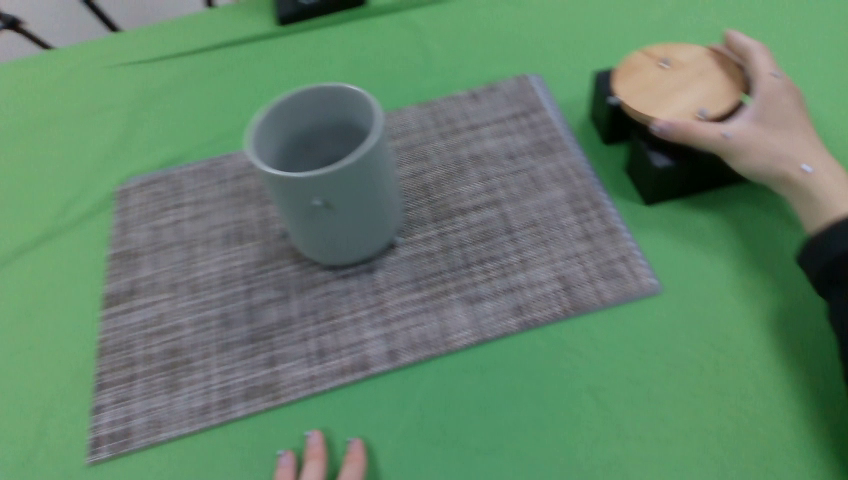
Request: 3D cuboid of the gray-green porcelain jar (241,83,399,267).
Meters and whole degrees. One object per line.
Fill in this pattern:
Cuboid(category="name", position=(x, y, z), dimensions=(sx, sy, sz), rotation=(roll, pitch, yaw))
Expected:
Cuboid(category="gray-green porcelain jar", position=(-0.079, -0.047, 0.505), dimensions=(0.106, 0.128, 0.105), rotation=(-5, 52, 6))

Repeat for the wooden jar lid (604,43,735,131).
Cuboid(category="wooden jar lid", position=(0.214, -0.134, 0.533), dimensions=(0.108, 0.021, 0.107), rotation=(-5, 53, 6))
